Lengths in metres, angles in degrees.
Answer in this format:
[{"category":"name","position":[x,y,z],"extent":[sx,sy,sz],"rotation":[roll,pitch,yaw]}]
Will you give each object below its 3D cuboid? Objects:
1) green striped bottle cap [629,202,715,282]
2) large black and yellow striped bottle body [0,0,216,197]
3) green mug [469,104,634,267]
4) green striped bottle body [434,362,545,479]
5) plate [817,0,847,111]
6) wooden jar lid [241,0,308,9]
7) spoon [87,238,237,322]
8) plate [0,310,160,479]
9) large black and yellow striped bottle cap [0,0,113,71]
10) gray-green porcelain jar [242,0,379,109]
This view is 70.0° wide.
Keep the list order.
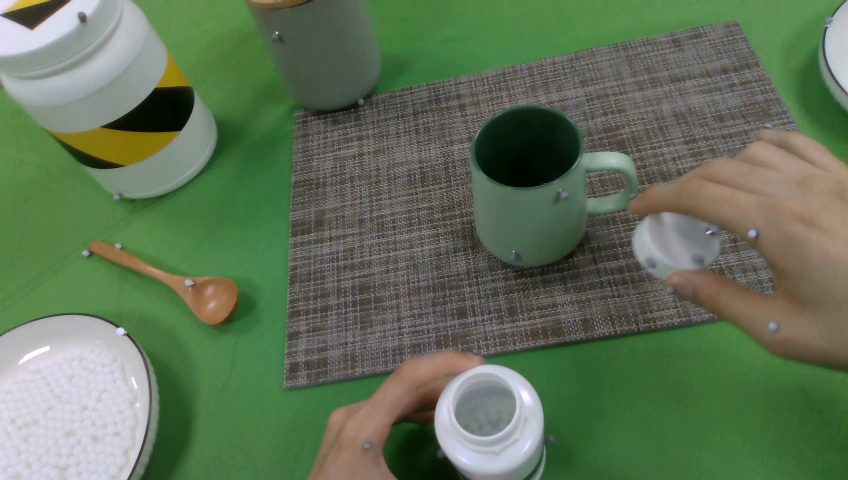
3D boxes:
[{"category":"green striped bottle cap","position":[0.141,0.000,0.344],"extent":[0.044,0.020,0.044],"rotation":[4,59,-6]},{"category":"large black and yellow striped bottle body","position":[-0.292,-0.141,0.558],"extent":[0.130,0.186,0.129],"rotation":[-5,58,8]},{"category":"green mug","position":[0.096,-0.040,0.464],"extent":[0.125,0.106,0.091],"rotation":[-2,58,10]},{"category":"green striped bottle body","position":[0.042,0.117,0.374],"extent":[0.063,0.120,0.062],"rotation":[-5,59,9]},{"category":"plate","position":[0.440,-0.145,0.504],"extent":[0.207,0.039,0.205],"rotation":[-5,58,9]},{"category":"wooden jar lid","position":[-0.116,-0.238,0.540],"extent":[0.108,0.021,0.107],"rotation":[-7,57,11]},{"category":"spoon","position":[-0.239,0.027,0.542],"extent":[0.192,0.022,0.041],"rotation":[19,83,21]},{"category":"plate","position":[-0.298,0.154,0.467],"extent":[0.209,0.038,0.207],"rotation":[-5,58,8]},{"category":"large black and yellow striped bottle cap","position":[-0.308,-0.182,0.488],"extent":[0.115,0.019,0.114],"rotation":[-5,57,8]},{"category":"gray-green porcelain jar","position":[-0.105,-0.201,0.591],"extent":[0.106,0.128,0.105],"rotation":[-5,54,8]}]
